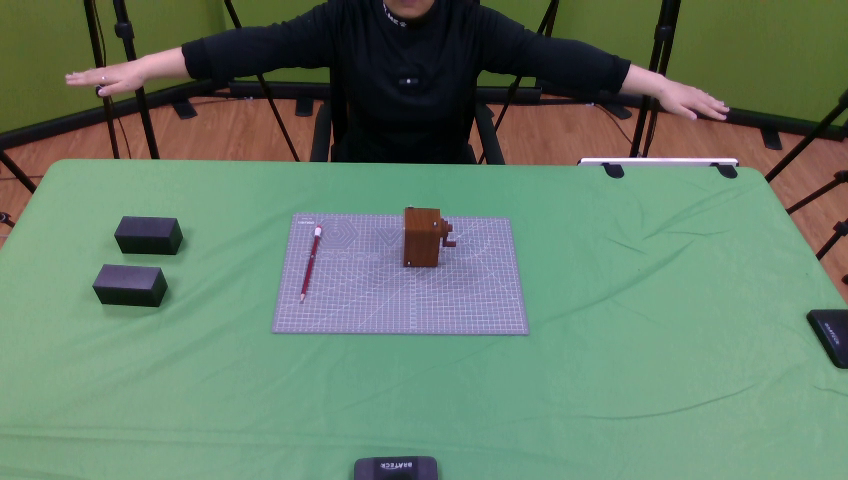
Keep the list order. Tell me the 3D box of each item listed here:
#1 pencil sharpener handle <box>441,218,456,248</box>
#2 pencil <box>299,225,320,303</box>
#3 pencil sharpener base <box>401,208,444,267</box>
[{"bbox_3d":[0.047,-0.011,1.131,0.031,0.068,0.036,1,45,-3],"label":"pencil sharpener handle"},{"bbox_3d":[-0.217,0.043,1.144,0.012,0.012,0.193,4,46,0],"label":"pencil"},{"bbox_3d":[-0.005,-0.003,1.137,0.077,0.107,0.061,1,45,-4],"label":"pencil sharpener base"}]
